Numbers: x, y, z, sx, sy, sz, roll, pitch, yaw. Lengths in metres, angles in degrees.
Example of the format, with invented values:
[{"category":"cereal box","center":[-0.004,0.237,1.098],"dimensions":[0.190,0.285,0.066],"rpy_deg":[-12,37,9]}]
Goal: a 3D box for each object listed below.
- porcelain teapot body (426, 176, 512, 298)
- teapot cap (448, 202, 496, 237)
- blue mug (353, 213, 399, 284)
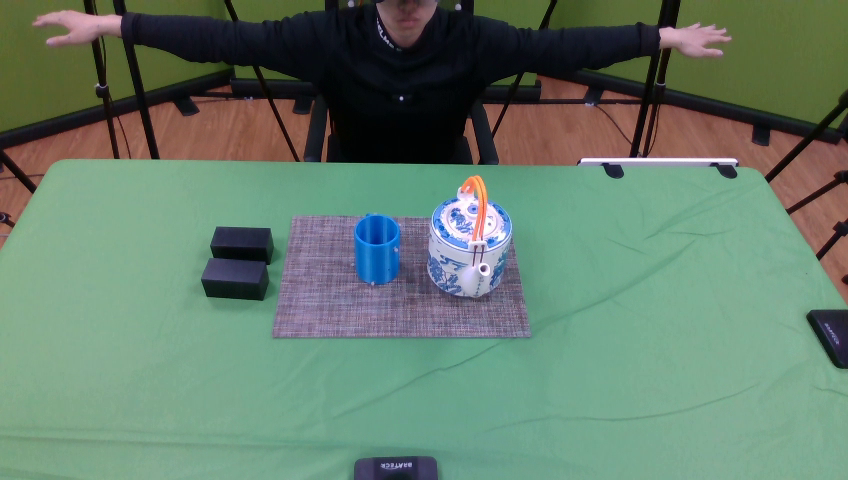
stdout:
[{"category":"porcelain teapot body","center":[0.085,0.009,1.051],"dimensions":[0.145,0.226,0.204],"rpy_deg":[-5,47,-9]},{"category":"teapot cap","center":[0.083,-0.038,1.041],"dimensions":[0.085,0.044,0.084],"rpy_deg":[1,48,0]},{"category":"blue mug","center":[-0.093,0.006,1.123],"dimensions":[0.082,0.106,0.115],"rpy_deg":[-12,48,-15]}]
